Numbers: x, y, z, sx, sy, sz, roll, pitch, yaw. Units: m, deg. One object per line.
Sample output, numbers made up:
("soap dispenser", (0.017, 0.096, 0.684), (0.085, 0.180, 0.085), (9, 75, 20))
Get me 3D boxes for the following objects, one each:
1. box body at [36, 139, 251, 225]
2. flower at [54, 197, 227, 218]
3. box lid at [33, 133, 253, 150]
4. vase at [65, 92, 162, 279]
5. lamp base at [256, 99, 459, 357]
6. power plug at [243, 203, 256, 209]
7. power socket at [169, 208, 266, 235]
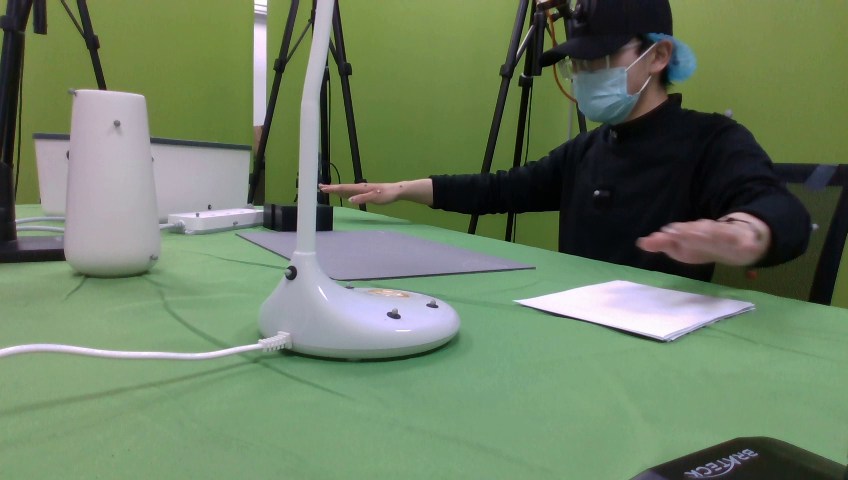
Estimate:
("box body", (-0.558, -0.126, 1.257), (0.253, 0.160, 0.365), (4, 8, 15))
("flower", (-0.573, -0.058, 1.266), (0.044, 0.038, 0.364), (36, 20, 33))
("box lid", (-0.555, -0.199, 1.249), (0.263, 0.015, 0.372), (5, 8, 15))
("vase", (-0.347, -0.060, 0.673), (0.098, 0.200, 0.098), (1, 7, 0))
("lamp base", (-0.055, -0.013, 0.463), (0.160, 0.180, 0.180), (6, 11, 27))
("power plug", (-0.377, -0.049, 1.271), (0.052, 0.035, 0.072), (-4, 35, 27))
("power socket", (-0.379, -0.038, 1.129), (0.072, 0.032, 0.227), (4, 8, 18))
